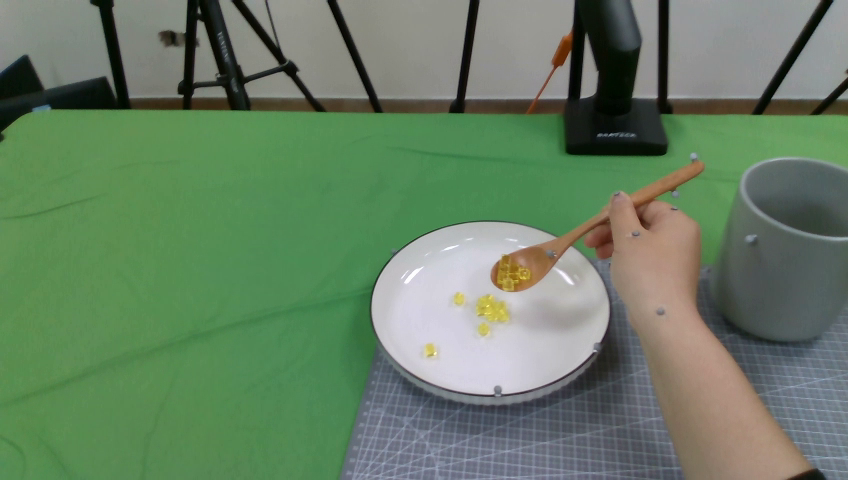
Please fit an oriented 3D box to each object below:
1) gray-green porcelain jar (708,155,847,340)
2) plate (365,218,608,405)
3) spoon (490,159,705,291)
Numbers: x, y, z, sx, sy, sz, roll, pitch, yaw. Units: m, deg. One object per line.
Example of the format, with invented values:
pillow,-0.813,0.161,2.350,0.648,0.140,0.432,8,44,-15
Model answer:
gray-green porcelain jar,0.300,0.011,0.499,0.106,0.128,0.105,-3,42,3
plate,0.054,0.061,0.536,0.207,0.039,0.205,-2,42,3
spoon,0.140,-0.012,0.501,0.194,0.022,0.041,-34,46,21
